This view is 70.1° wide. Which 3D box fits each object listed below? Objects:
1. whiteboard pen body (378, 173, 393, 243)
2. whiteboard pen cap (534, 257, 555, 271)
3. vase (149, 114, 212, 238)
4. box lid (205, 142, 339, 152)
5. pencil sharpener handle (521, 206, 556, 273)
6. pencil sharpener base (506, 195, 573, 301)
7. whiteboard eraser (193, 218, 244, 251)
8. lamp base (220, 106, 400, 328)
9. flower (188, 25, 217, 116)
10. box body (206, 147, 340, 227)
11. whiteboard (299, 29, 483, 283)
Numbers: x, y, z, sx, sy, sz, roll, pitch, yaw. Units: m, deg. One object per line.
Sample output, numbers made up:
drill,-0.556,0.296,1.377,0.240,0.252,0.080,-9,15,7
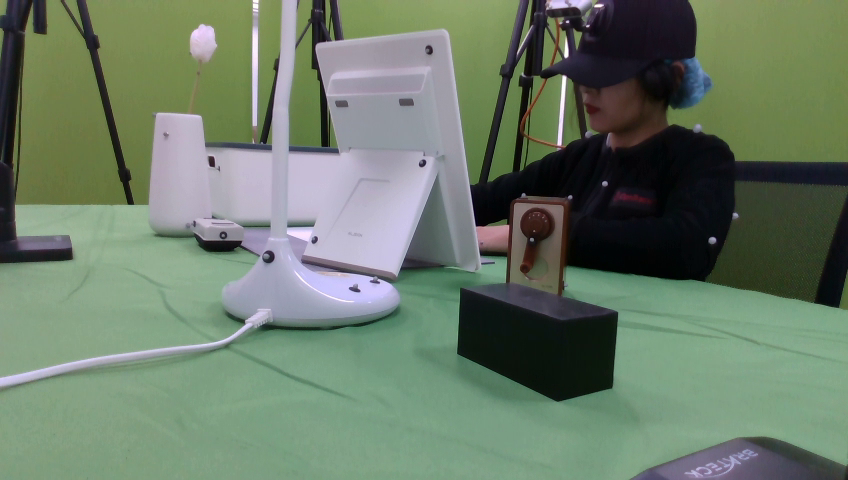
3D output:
whiteboard pen body,-0.067,-0.056,1.039,0.017,0.140,0.017,4,-30,3
whiteboard pen cap,0.166,0.033,0.839,0.018,0.018,0.033,-1,6,-23
vase,-0.405,-0.106,1.005,0.098,0.200,0.098,2,6,0
box lid,-0.270,-0.196,1.310,0.373,0.015,0.262,-2,9,-30
pencil sharpener handle,0.111,0.000,0.613,0.036,0.067,0.031,13,10,14
pencil sharpener base,0.127,0.007,0.663,0.061,0.107,0.077,5,8,15
whiteboard eraser,-0.307,-0.009,0.900,0.056,0.042,0.112,-4,11,-28
lamp base,-0.101,-0.023,0.531,0.160,0.180,0.179,4,10,10
flower,-0.394,-0.189,1.011,0.044,0.361,0.038,-1,-13,27
box body,-0.276,-0.122,1.320,0.366,0.160,0.253,-2,9,-30
whiteboard,-0.074,-0.082,0.742,0.216,0.305,0.144,9,29,38
